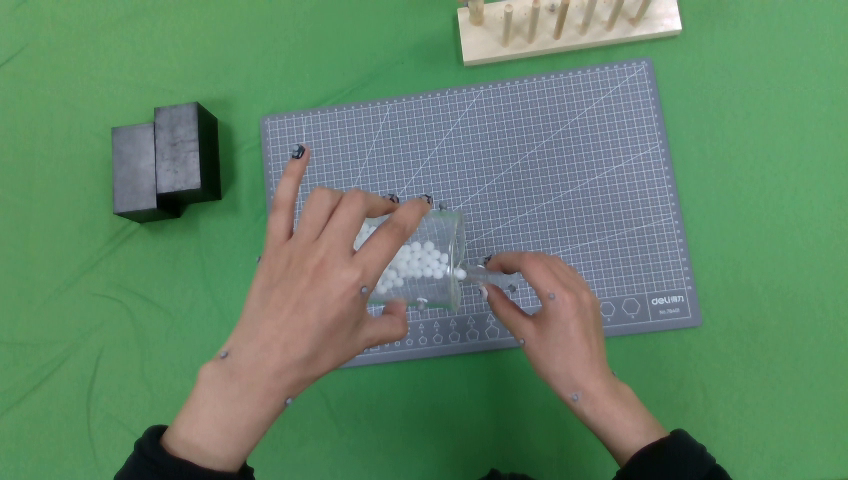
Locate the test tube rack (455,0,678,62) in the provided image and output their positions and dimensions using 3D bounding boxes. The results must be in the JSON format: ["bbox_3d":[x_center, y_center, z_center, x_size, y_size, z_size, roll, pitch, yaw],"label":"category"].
[{"bbox_3d":[0.155,-0.259,0.653,0.242,0.085,0.066,-7,80,5],"label":"test tube rack"}]

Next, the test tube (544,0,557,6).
[{"bbox_3d":[0.137,-0.283,0.609,0.017,0.151,0.017,-1,77,3],"label":"test tube"}]

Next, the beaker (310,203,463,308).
[{"bbox_3d":[-0.024,0.010,0.441,0.100,0.084,0.073,3,74,9],"label":"beaker"}]

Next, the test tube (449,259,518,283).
[{"bbox_3d":[0.057,0.029,0.538,0.017,0.151,0.017,-2,84,25],"label":"test tube"}]
